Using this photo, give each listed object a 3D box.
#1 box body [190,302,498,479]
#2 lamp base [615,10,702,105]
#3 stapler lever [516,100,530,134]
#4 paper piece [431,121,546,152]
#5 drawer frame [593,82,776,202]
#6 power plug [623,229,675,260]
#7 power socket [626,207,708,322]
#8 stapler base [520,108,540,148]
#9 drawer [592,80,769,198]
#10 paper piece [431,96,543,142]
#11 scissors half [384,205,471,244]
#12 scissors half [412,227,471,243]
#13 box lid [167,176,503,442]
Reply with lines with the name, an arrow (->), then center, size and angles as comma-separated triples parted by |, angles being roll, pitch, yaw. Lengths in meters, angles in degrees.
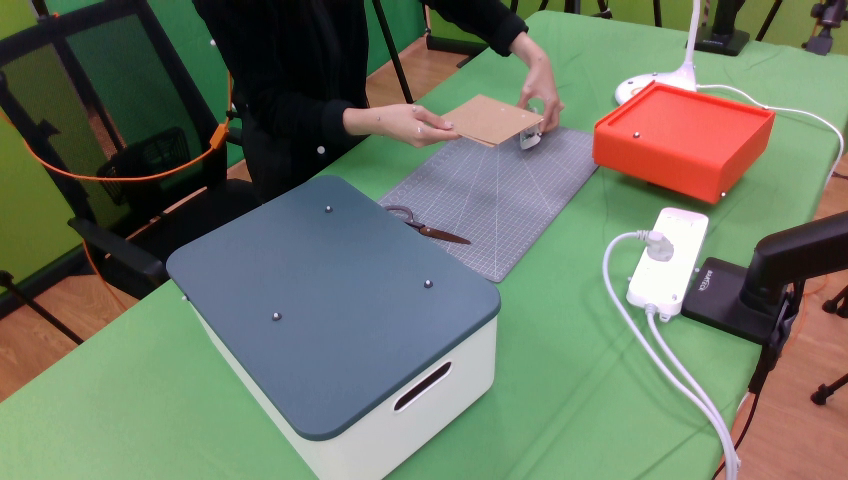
box body -> -0.110, 0.103, 0.761 | 0.255, 0.161, 0.361 | -33, 46, -27
lamp base -> 0.484, -0.364, 1.211 | 0.180, 0.181, 0.159 | -15, 41, -14
stapler lever -> 0.193, -0.246, 1.185 | 0.026, 0.040, 0.117 | -19, 35, 21
paper piece -> 0.105, -0.187, 0.990 | 0.136, 0.004, 0.134 | -29, 43, -33
drawer frame -> 0.428, -0.171, 1.006 | 0.211, 0.083, 0.202 | 29, 51, 36
power plug -> 0.327, 0.007, 0.878 | 0.072, 0.053, 0.035 | 25, 51, 32
power socket -> 0.360, 0.026, 0.886 | 0.072, 0.033, 0.227 | 16, 46, 26
stapler base -> 0.205, -0.228, 1.196 | 0.041, 0.024, 0.130 | -19, 34, 21
drawer -> 0.423, -0.174, 1.008 | 0.210, 0.073, 0.195 | 30, 52, 35
paper piece -> 0.105, -0.200, 0.991 | 0.137, 0.009, 0.136 | 26, 41, 33
scissors half -> 0.001, -0.024, 1.005 | 0.174, 0.013, 0.040 | 23, 59, 25
scissors half -> -0.007, -0.010, 0.993 | 0.174, 0.013, 0.040 | 8, 48, 15
box lid -> -0.119, 0.047, 0.714 | 0.264, 0.015, 0.368 | -32, 47, -27
